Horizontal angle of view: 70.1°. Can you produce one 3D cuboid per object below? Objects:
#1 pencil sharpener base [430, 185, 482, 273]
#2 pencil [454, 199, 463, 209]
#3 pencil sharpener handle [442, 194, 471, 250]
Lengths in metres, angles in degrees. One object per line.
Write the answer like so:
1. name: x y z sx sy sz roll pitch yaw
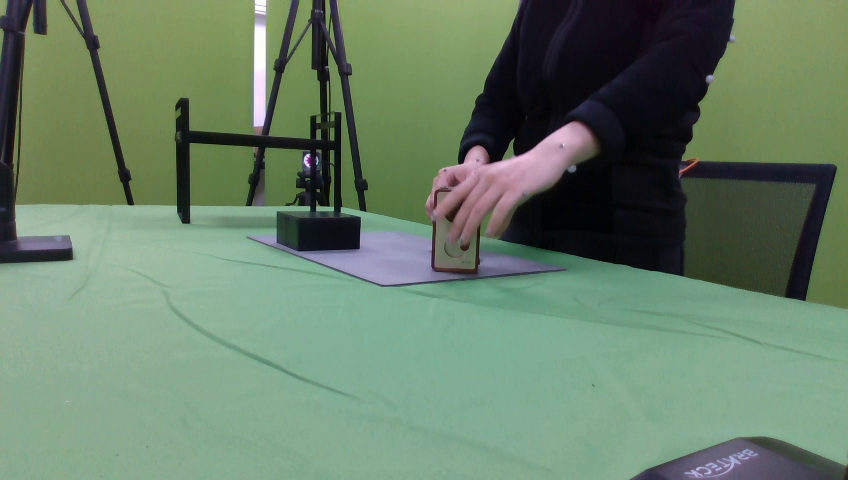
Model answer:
1. pencil sharpener base: 0.042 -0.015 0.783 0.061 0.107 0.076 3 8 4
2. pencil: 0.049 -0.051 0.868 0.012 0.012 0.194 3 6 4
3. pencil sharpener handle: 0.043 -0.021 0.731 0.036 0.068 0.030 -13 7 5
